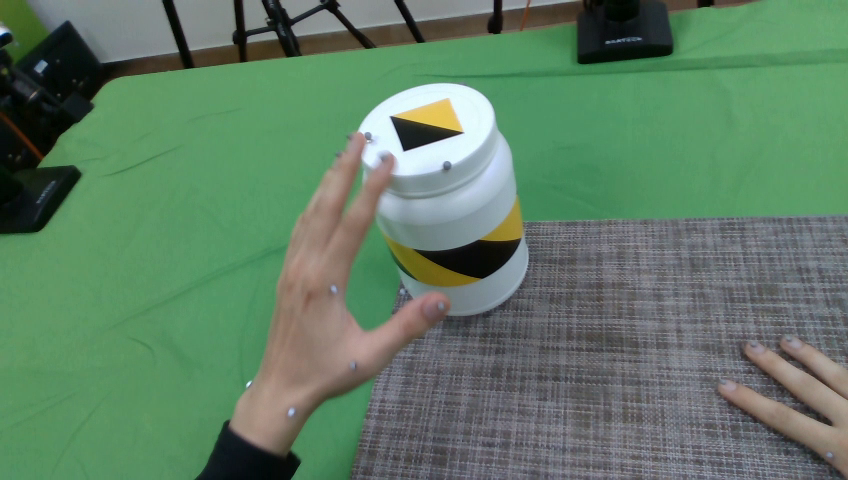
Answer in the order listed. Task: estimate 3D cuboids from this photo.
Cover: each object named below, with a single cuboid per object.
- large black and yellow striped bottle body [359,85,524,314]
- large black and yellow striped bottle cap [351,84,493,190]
[{"bbox_3d":[0.018,-0.033,0.550,0.130,0.186,0.129,-8,48,10],"label":"large black and yellow striped bottle body"},{"bbox_3d":[-0.002,-0.086,0.488,0.115,0.019,0.114,-7,48,9],"label":"large black and yellow striped bottle cap"}]
